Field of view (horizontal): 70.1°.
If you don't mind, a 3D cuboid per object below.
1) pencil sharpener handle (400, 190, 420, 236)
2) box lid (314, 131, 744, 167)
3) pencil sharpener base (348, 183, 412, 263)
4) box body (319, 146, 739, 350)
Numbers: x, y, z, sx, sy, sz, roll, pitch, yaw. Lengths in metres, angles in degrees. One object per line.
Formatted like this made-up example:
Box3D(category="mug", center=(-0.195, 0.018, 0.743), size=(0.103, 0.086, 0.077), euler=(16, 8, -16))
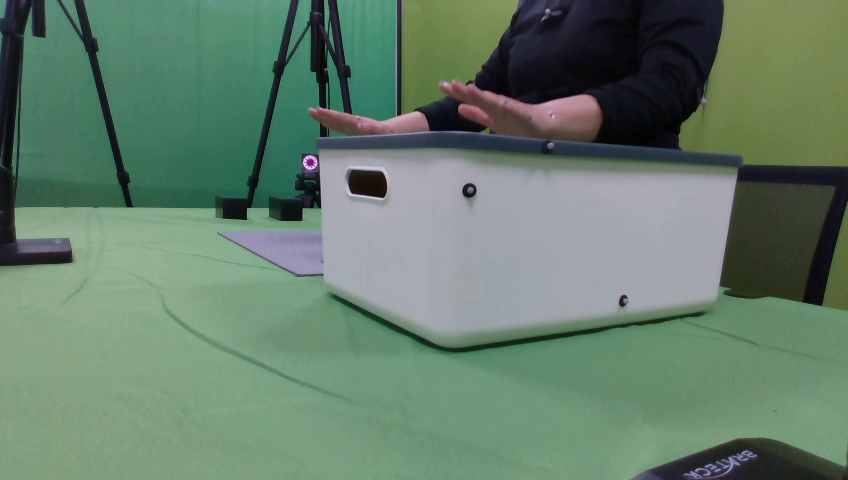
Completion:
Box3D(category="pencil sharpener handle", center=(-0.016, -0.038, 0.874), size=(0.031, 0.067, 0.036), euler=(-1, 22, -30))
Box3D(category="box lid", center=(0.101, -0.085, 0.602), size=(0.373, 0.015, 0.262), euler=(-2, 8, -32))
Box3D(category="pencil sharpener base", center=(-0.059, -0.024, 0.846), size=(0.077, 0.107, 0.061), euler=(-1, 8, -30))
Box3D(category="box body", center=(0.100, -0.013, 0.611), size=(0.366, 0.160, 0.253), euler=(-2, 8, -32))
